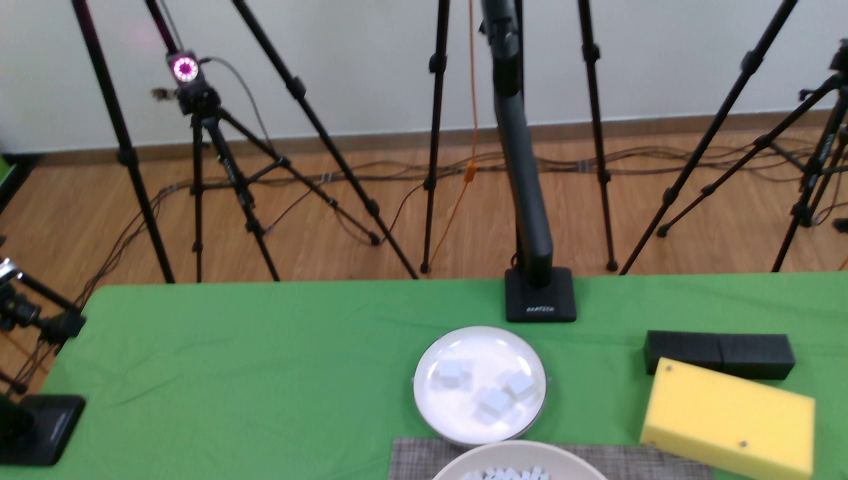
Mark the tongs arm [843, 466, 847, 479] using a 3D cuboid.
[{"bbox_3d":[0.539,0.447,0.683,0.028,0.028,0.384,3,49,8],"label":"tongs arm"}]

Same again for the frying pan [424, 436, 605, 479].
[{"bbox_3d":[0.100,0.462,0.678,0.306,0.104,0.484,1,40,11],"label":"frying pan"}]

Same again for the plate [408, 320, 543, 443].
[{"bbox_3d":[0.080,0.221,0.948,0.207,0.039,0.205,-4,48,5],"label":"plate"}]

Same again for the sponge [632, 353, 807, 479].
[{"bbox_3d":[0.414,0.249,0.855,0.206,0.061,0.117,13,49,20],"label":"sponge"}]
